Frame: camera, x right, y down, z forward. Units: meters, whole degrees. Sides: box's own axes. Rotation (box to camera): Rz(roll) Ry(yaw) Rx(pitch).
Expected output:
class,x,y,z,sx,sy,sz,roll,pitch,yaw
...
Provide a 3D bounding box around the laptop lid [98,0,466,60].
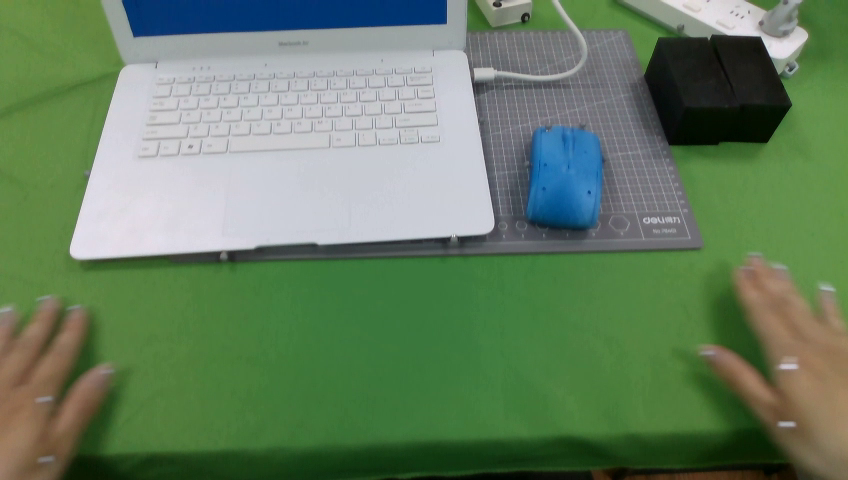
class,x,y,z,sx,sy,sz,roll,pitch,yaw
laptop lid,-0.135,-0.277,0.552,0.357,0.244,0.013,-5,42,-2

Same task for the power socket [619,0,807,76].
class,x,y,z,sx,sy,sz,roll,pitch,yaw
power socket,0.316,-0.257,0.681,0.072,0.033,0.225,-38,64,-25

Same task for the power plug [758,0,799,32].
class,x,y,z,sx,sy,sz,roll,pitch,yaw
power plug,0.389,-0.243,0.645,0.072,0.053,0.035,-30,60,-18

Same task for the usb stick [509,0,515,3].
class,x,y,z,sx,sy,sz,roll,pitch,yaw
usb stick,0.094,-0.289,0.667,0.027,0.059,0.021,-19,56,-11

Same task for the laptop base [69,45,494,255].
class,x,y,z,sx,sy,sz,roll,pitch,yaw
laptop base,-0.124,-0.092,0.567,0.355,0.023,0.233,-4,59,-3

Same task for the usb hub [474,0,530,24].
class,x,y,z,sx,sy,sz,roll,pitch,yaw
usb hub,0.075,-0.304,0.712,0.049,0.025,0.124,-16,57,-12

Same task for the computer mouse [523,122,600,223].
class,x,y,z,sx,sy,sz,roll,pitch,yaw
computer mouse,0.123,-0.066,0.540,0.063,0.041,0.116,8,51,7
